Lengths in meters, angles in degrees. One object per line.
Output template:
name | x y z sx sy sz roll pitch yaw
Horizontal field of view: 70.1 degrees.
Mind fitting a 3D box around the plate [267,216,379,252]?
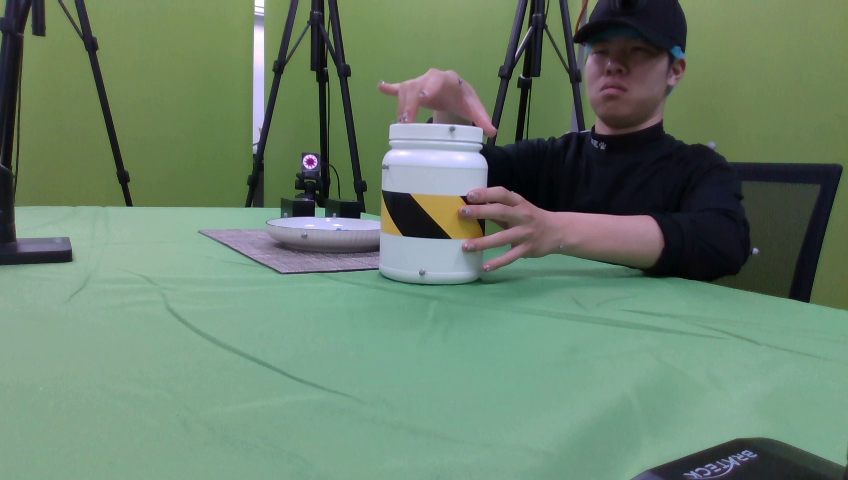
plate | -0.145 -0.010 0.967 0.208 0.039 0.207 2 7 0

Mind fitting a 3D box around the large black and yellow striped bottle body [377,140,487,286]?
large black and yellow striped bottle body | 0.010 -0.044 0.745 0.131 0.184 0.130 3 8 0

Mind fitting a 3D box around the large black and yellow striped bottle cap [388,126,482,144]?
large black and yellow striped bottle cap | 0.014 -0.128 0.734 0.115 0.019 0.115 2 9 0
